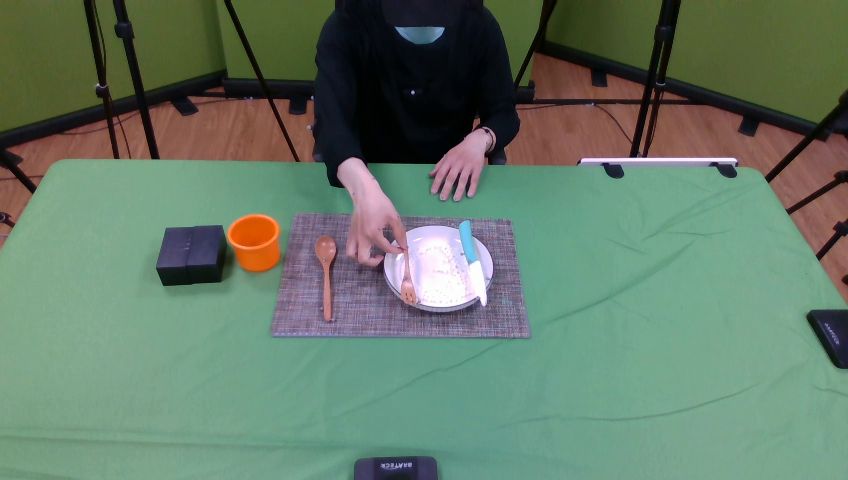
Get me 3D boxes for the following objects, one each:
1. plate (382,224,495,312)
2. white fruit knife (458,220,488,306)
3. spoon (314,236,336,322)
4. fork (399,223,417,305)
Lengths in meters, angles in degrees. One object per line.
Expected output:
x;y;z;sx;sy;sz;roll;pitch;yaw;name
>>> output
0.026;0.055;1.128;0.209;0.038;0.208;2;46;-2;plate
0.091;0.039;1.117;0.027;0.016;0.206;-2;47;-10;white fruit knife
-0.180;0.068;1.111;0.042;0.022;0.192;9;43;-20;spoon
-0.033;0.040;1.107;0.028;0.019;0.206;4;47;-12;fork
